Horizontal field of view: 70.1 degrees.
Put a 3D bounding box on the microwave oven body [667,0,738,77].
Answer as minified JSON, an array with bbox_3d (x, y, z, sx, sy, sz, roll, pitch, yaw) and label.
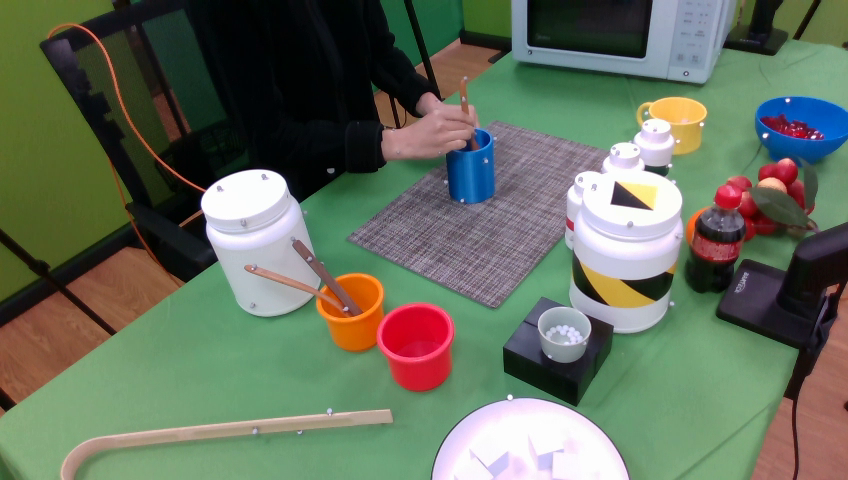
[{"bbox_3d":[0.462,-0.552,1.369,0.439,0.261,0.326,15,45,26],"label":"microwave oven body"}]

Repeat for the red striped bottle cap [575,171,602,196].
[{"bbox_3d":[0.242,-0.081,0.876,0.044,0.018,0.044,-5,44,5],"label":"red striped bottle cap"}]

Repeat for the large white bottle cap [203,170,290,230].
[{"bbox_3d":[-0.241,-0.057,0.822,0.115,0.018,0.114,-4,40,4],"label":"large white bottle cap"}]

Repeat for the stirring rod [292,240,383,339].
[{"bbox_3d":[-0.118,0.068,0.826,0.176,0.006,0.014,49,59,-4],"label":"stirring rod"}]

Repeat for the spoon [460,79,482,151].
[{"bbox_3d":[0.080,-0.179,1.005,0.042,0.195,0.021,-40,43,-23],"label":"spoon"}]

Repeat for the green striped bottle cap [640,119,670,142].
[{"bbox_3d":[0.371,-0.174,0.968,0.044,0.020,0.044,-3,41,3],"label":"green striped bottle cap"}]

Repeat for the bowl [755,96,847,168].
[{"bbox_3d":[0.645,-0.177,1.041,0.151,0.077,0.150,-5,40,4],"label":"bowl"}]

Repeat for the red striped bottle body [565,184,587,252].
[{"bbox_3d":[0.247,-0.041,0.910,0.063,0.120,0.062,-3,39,3],"label":"red striped bottle body"}]

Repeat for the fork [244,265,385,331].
[{"bbox_3d":[-0.142,0.078,0.806,0.209,0.018,0.028,30,32,-23],"label":"fork"}]

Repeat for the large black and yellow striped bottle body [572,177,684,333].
[{"bbox_3d":[0.262,0.017,0.788,0.131,0.185,0.130,-5,40,4],"label":"large black and yellow striped bottle body"}]

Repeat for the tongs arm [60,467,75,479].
[{"bbox_3d":[-0.239,0.301,0.648,0.386,0.028,0.028,6,49,16],"label":"tongs arm"}]

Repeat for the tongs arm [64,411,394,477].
[{"bbox_3d":[-0.228,0.241,0.715,0.385,0.026,0.050,-5,43,4],"label":"tongs arm"}]

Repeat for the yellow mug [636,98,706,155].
[{"bbox_3d":[0.453,-0.217,1.128,0.100,0.064,0.129,-34,46,-27],"label":"yellow mug"}]

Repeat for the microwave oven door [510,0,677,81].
[{"bbox_3d":[0.354,-0.478,1.290,0.353,0.245,0.039,15,45,25],"label":"microwave oven door"}]

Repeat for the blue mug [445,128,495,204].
[{"bbox_3d":[0.081,-0.138,1.057,0.082,0.106,0.116,-5,40,3],"label":"blue mug"}]

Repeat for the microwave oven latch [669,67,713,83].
[{"bbox_3d":[0.556,-0.348,1.261,0.078,0.029,0.030,16,46,27],"label":"microwave oven latch"}]

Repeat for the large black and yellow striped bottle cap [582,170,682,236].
[{"bbox_3d":[0.252,-0.048,0.735,0.115,0.019,0.114,-3,40,3],"label":"large black and yellow striped bottle cap"}]

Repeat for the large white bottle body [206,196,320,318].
[{"bbox_3d":[-0.233,0.008,0.876,0.130,0.185,0.130,-4,40,4],"label":"large white bottle body"}]

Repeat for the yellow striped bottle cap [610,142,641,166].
[{"bbox_3d":[0.308,-0.131,0.925,0.044,0.019,0.044,-4,46,5],"label":"yellow striped bottle cap"}]

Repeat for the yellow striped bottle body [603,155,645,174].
[{"bbox_3d":[0.314,-0.090,0.957,0.063,0.121,0.062,-4,40,4],"label":"yellow striped bottle body"}]

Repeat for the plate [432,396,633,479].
[{"bbox_3d":[0.112,0.261,0.634,0.209,0.038,0.208,-5,40,4],"label":"plate"}]

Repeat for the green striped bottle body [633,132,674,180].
[{"bbox_3d":[0.376,-0.135,1.001,0.063,0.120,0.063,-5,40,5],"label":"green striped bottle body"}]

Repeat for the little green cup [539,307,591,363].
[{"bbox_3d":[0.167,0.114,0.721,0.061,0.039,0.061,-4,43,4],"label":"little green cup"}]
